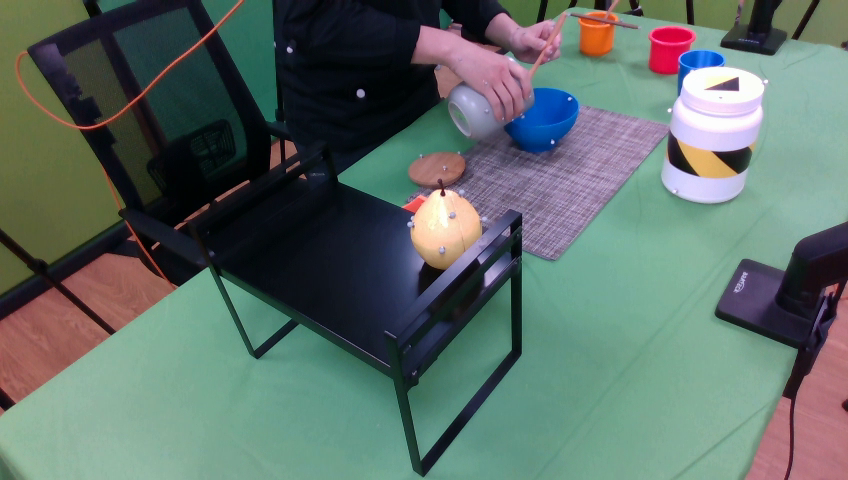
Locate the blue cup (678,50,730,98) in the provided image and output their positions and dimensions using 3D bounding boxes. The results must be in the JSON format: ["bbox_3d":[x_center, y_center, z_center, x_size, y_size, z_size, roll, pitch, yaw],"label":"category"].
[{"bbox_3d":[0.542,-0.310,1.194,0.092,0.101,0.092,-6,41,6],"label":"blue cup"}]

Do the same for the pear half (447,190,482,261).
[{"bbox_3d":[0.046,-0.020,0.664,0.031,0.088,0.070,-17,38,-9],"label":"pear half"}]

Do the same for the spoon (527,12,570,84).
[{"bbox_3d":[0.212,-0.327,1.099,0.193,0.022,0.041,-58,39,1],"label":"spoon"}]

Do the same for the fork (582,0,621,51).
[{"bbox_3d":[0.446,-0.539,1.438,0.207,0.019,0.028,-57,36,12],"label":"fork"}]

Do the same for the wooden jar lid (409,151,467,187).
[{"bbox_3d":[0.026,-0.131,1.124,0.108,0.021,0.108,-8,35,6],"label":"wooden jar lid"}]

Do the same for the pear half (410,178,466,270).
[{"bbox_3d":[0.011,-0.019,0.654,0.056,0.110,0.076,-16,37,-9],"label":"pear half"}]

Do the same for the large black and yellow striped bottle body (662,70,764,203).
[{"bbox_3d":[0.464,-0.166,0.976,0.131,0.185,0.130,-5,41,5],"label":"large black and yellow striped bottle body"}]

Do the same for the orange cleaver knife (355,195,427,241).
[{"bbox_3d":[-0.037,-0.029,0.973,0.210,0.077,0.012,-8,33,50],"label":"orange cleaver knife"}]

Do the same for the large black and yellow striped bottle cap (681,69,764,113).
[{"bbox_3d":[0.453,-0.229,0.921,0.115,0.019,0.114,-4,39,4],"label":"large black and yellow striped bottle cap"}]

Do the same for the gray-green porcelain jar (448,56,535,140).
[{"bbox_3d":[0.115,-0.247,1.071,0.127,0.106,0.105,-34,45,-9],"label":"gray-green porcelain jar"}]

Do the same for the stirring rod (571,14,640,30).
[{"bbox_3d":[0.419,-0.508,1.404,0.174,0.006,0.014,28,55,35],"label":"stirring rod"}]

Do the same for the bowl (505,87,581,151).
[{"bbox_3d":[0.221,-0.223,1.156,0.151,0.077,0.150,-4,41,4],"label":"bowl"}]
